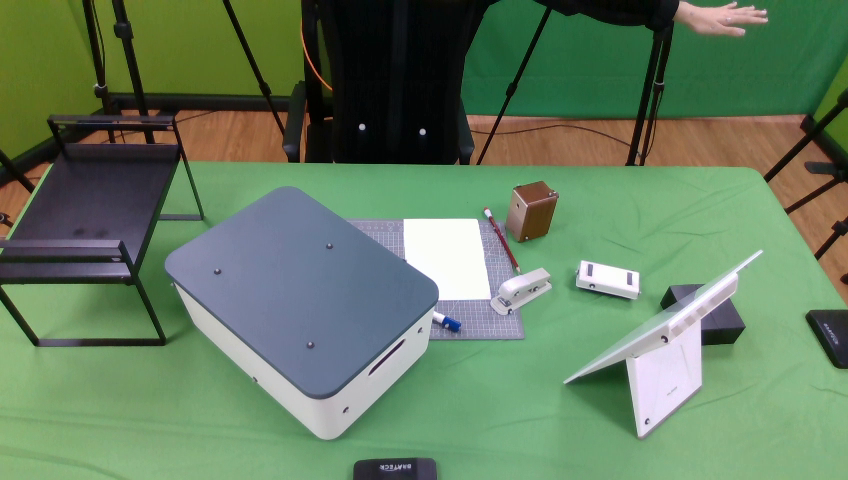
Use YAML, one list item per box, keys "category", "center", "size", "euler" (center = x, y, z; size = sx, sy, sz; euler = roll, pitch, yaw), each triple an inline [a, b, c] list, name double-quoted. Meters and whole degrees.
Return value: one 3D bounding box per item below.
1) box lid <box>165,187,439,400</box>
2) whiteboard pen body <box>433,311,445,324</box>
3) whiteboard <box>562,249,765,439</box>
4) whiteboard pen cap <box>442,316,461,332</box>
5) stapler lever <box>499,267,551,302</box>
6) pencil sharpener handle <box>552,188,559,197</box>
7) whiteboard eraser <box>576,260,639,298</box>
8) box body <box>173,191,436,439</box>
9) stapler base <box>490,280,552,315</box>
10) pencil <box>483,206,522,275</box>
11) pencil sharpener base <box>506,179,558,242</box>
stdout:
- category: "box lid"
  center: [-0.186, 0.060, 0.925]
  size: [0.370, 0.015, 0.263]
  euler: [32, 53, 25]
- category: "whiteboard pen body"
  center: [-0.004, 0.123, 1.074]
  size: [0.140, 0.017, 0.017]
  euler: [24, 49, 15]
- category: "whiteboard"
  center: [0.386, 0.176, 0.905]
  size: [0.217, 0.306, 0.143]
  euler: [-26, 72, -26]
- category: "whiteboard pen cap"
  center: [0.048, 0.146, 1.059]
  size: [0.033, 0.018, 0.018]
  euler: [24, 49, 16]
- category: "stapler lever"
  center: [0.185, 0.076, 1.101]
  size: [0.118, 0.040, 0.026]
  euler: [-25, 57, -29]
- category: "pencil sharpener handle"
  center: [0.261, -0.084, 1.221]
  size: [0.031, 0.068, 0.036]
  euler: [-16, 65, -19]
- category: "whiteboard eraser"
  center: [0.345, 0.075, 1.138]
  size: [0.112, 0.042, 0.055]
  euler: [12, 44, 8]
- category: "box body"
  center: [-0.191, 0.110, 0.979]
  size: [0.362, 0.161, 0.254]
  euler: [33, 53, 24]
- category: "stapler base"
  center: [0.181, 0.094, 1.118]
  size: [0.130, 0.024, 0.041]
  euler: [-24, 57, -29]
- category: "pencil"
  center: [0.158, -0.002, 1.218]
  size: [0.012, 0.012, 0.192]
  euler: [-11, 48, -14]
- category: "pencil sharpener base"
  center: [0.216, -0.059, 1.211]
  size: [0.077, 0.107, 0.061]
  euler: [-16, 49, -19]
